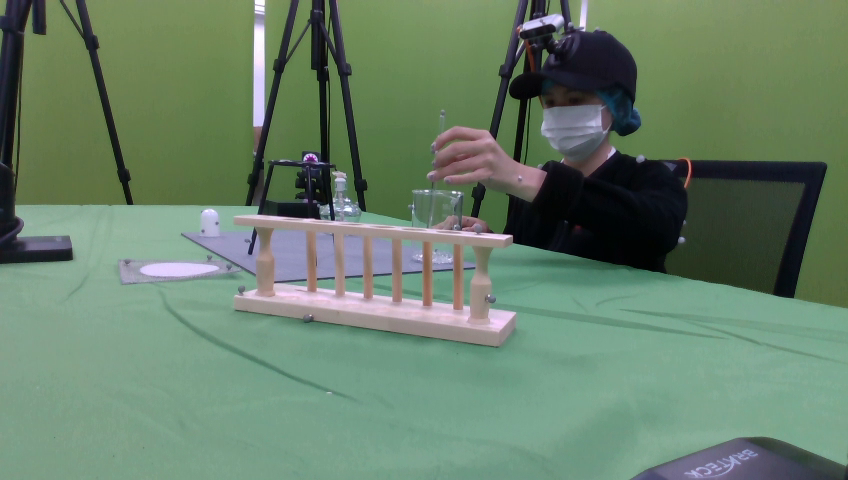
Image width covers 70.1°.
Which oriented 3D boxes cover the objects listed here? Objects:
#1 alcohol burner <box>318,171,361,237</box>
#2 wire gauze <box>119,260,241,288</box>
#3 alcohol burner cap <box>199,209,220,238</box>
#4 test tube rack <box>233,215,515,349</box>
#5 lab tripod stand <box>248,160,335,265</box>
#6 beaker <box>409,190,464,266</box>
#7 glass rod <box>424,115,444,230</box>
[{"bbox_3d":[-0.155,-0.066,1.104,0.078,0.119,0.078,1,8,0],"label":"alcohol burner"},{"bbox_3d":[-0.288,0.034,0.706,0.122,0.011,0.124,-3,10,-29],"label":"wire gauze"},{"bbox_3d":[-0.356,-0.027,1.002,0.034,0.048,0.034,2,7,0],"label":"alcohol burner cap"},{"bbox_3d":[-0.045,0.029,0.526,0.241,0.085,0.067,5,8,19],"label":"test tube rack"},{"bbox_3d":[-0.165,-0.041,0.817,0.148,0.131,0.148,5,7,0],"label":"lab tripod stand"},{"bbox_3d":[0.018,-0.017,0.840,0.074,0.100,0.083,-3,10,-35],"label":"beaker"},{"bbox_3d":[0.011,-0.069,0.821,0.008,0.199,0.008,7,9,-1],"label":"glass rod"}]
